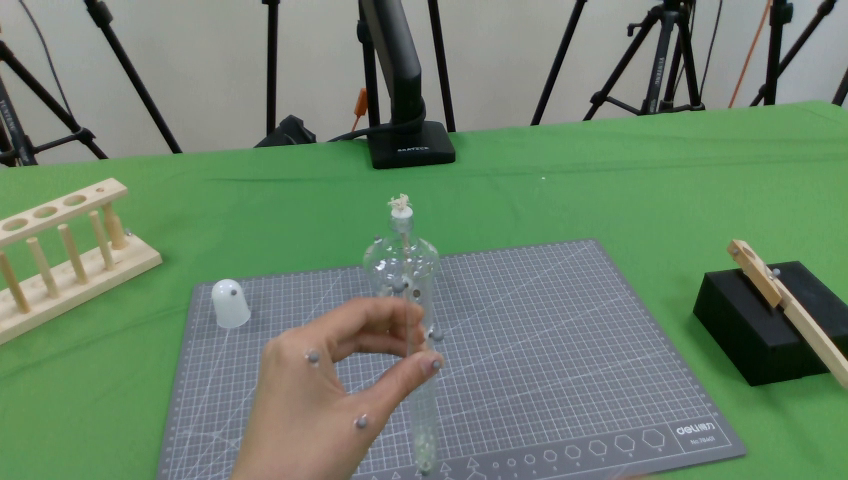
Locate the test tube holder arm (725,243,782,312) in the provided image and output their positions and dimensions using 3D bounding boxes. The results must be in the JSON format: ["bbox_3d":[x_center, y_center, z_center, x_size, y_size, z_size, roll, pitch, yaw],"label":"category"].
[{"bbox_3d":[0.308,0.033,0.564,0.010,0.015,0.087,-4,37,-6],"label":"test tube holder arm"}]

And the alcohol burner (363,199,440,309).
[{"bbox_3d":[-0.022,0.009,0.595,0.078,0.120,0.077,1,37,0],"label":"alcohol burner"}]

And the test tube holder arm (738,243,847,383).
[{"bbox_3d":[0.320,0.059,0.529,0.013,0.015,0.176,-5,37,-8],"label":"test tube holder arm"}]

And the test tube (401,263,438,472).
[{"bbox_3d":[-0.001,0.078,0.341,0.017,0.151,0.017,-2,32,1],"label":"test tube"}]

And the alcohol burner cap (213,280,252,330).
[{"bbox_3d":[-0.187,0.060,0.586,0.034,0.048,0.033,0,36,0],"label":"alcohol burner cap"}]

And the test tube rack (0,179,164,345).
[{"bbox_3d":[-0.393,0.032,0.593,0.066,0.086,0.242,27,43,33],"label":"test tube rack"}]
